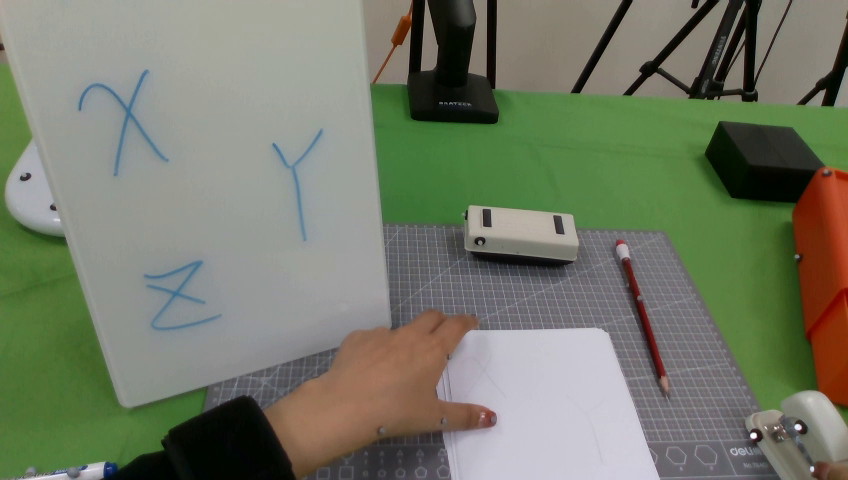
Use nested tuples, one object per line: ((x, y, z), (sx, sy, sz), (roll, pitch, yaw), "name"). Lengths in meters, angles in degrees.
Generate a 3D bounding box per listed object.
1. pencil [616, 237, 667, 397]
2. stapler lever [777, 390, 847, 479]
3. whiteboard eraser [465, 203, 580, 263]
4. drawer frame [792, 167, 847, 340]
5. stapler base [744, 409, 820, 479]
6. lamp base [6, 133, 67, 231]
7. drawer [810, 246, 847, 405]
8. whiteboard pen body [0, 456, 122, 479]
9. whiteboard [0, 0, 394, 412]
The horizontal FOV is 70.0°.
((0.206, 0.065, 0.575), (0.012, 0.012, 0.192), (5, 43, -2), "pencil")
((0.298, 0.162, 0.432), (0.027, 0.040, 0.116), (-6, 47, -14), "stapler lever")
((0.098, -0.006, 0.613), (0.113, 0.042, 0.055), (6, 42, -2), "whiteboard eraser")
((0.488, 0.035, 0.598), (0.201, 0.083, 0.212), (17, 42, 12), "drawer frame")
((0.294, 0.180, 0.450), (0.041, 0.024, 0.129), (-6, 46, -15), "stapler base")
((-0.341, -0.126, 0.581), (0.178, 0.182, 0.160), (29, 46, 26), "lamp base")
((0.464, 0.077, 0.550), (0.194, 0.074, 0.210), (17, 42, 12), "drawer")
((-0.275, 0.160, 0.395), (0.141, 0.017, 0.017), (-5, 43, -13), "whiteboard pen body")
((-0.159, -0.059, 0.482), (0.218, 0.307, 0.142), (-13, 26, -20), "whiteboard")
